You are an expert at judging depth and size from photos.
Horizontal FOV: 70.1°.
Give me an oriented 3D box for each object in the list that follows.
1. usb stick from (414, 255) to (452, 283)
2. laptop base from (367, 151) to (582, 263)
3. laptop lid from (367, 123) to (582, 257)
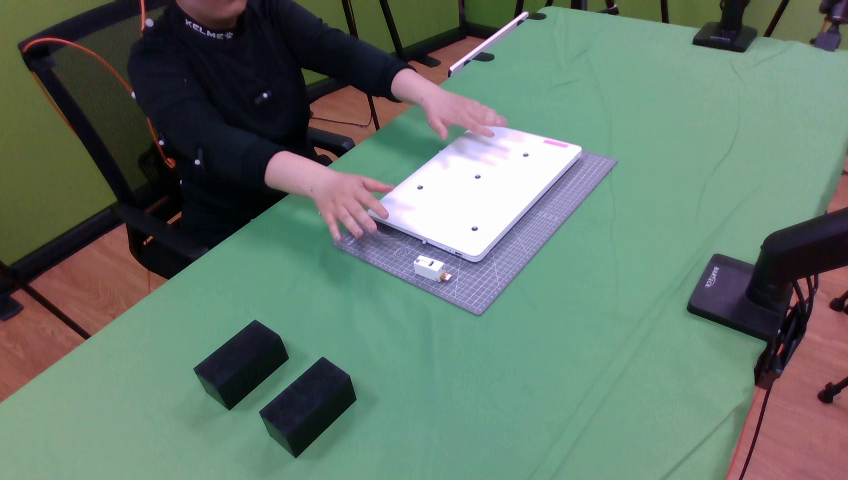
[{"bbox_3d":[0.015,0.046,0.905,0.059,0.027,0.021,22,48,25],"label":"usb stick"},{"bbox_3d":[0.098,-0.097,1.071,0.233,0.023,0.355,20,47,33],"label":"laptop base"},{"bbox_3d":[0.095,-0.106,1.065,0.239,0.013,0.358,23,48,34],"label":"laptop lid"}]
